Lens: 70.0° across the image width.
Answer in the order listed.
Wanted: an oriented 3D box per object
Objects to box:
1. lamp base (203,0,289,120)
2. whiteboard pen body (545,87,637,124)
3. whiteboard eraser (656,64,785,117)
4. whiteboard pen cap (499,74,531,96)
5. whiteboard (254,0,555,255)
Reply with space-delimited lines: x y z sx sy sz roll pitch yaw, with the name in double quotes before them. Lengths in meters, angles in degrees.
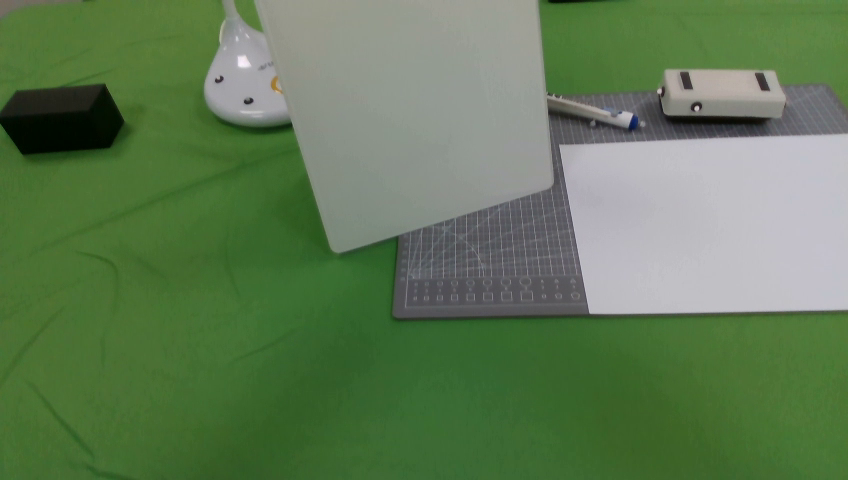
"lamp base" -0.191 -0.249 0.655 0.177 0.182 0.160 31 58 32
"whiteboard pen body" 0.152 -0.146 0.633 0.140 0.017 0.017 20 53 18
"whiteboard eraser" 0.295 -0.150 0.611 0.112 0.042 0.055 2 47 7
"whiteboard pen cap" 0.099 -0.166 0.652 0.033 0.018 0.018 19 52 16
"whiteboard" -0.025 -0.179 0.531 0.217 0.308 0.142 -17 29 -9
